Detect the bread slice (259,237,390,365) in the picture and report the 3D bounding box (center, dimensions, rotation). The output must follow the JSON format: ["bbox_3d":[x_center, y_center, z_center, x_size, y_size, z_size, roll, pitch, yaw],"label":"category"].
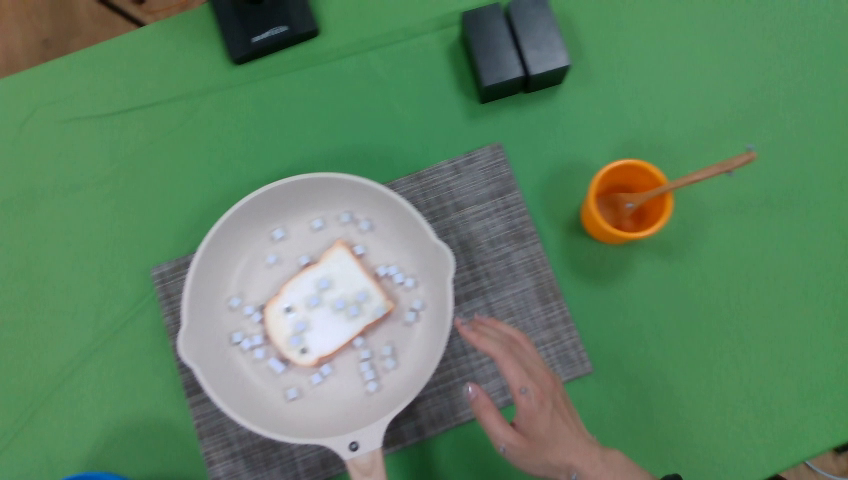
[{"bbox_3d":[-0.121,0.079,0.705,0.134,0.018,0.106,-41,82,-9],"label":"bread slice"}]

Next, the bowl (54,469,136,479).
[{"bbox_3d":[-0.339,0.314,0.638,0.151,0.077,0.150,0,79,0],"label":"bowl"}]

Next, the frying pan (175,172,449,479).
[{"bbox_3d":[-0.086,0.164,0.649,0.307,0.103,0.484,-18,72,-2],"label":"frying pan"}]

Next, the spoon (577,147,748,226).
[{"bbox_3d":[0.257,-0.059,0.672,0.022,0.193,0.041,-5,76,-47],"label":"spoon"}]
